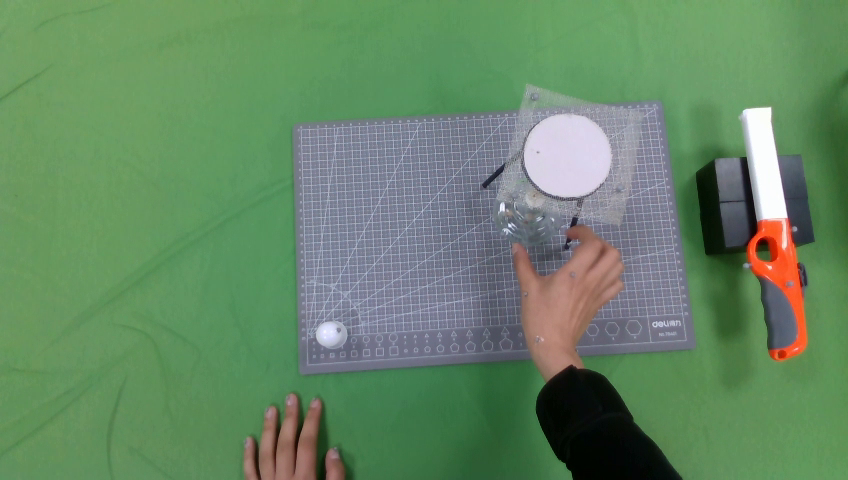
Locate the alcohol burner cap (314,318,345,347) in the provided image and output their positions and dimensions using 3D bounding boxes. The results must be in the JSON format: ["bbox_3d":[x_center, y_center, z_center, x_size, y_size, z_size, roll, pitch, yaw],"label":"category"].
[{"bbox_3d":[-0.107,0.102,0.671,0.034,0.048,0.033,0,80,-1],"label":"alcohol burner cap"}]

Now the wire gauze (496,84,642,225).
[{"bbox_3d":[0.143,-0.084,0.589,0.121,0.011,0.124,15,79,2],"label":"wire gauze"}]

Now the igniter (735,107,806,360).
[{"bbox_3d":[0.373,-0.010,0.655,0.057,0.025,0.275,-3,79,5],"label":"igniter"}]

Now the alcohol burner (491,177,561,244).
[{"bbox_3d":[0.114,-0.036,0.659,0.078,0.119,0.077,0,81,1],"label":"alcohol burner"}]

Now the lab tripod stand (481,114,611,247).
[{"bbox_3d":[0.140,-0.074,0.656,0.148,0.132,0.147,0,78,0],"label":"lab tripod stand"}]
